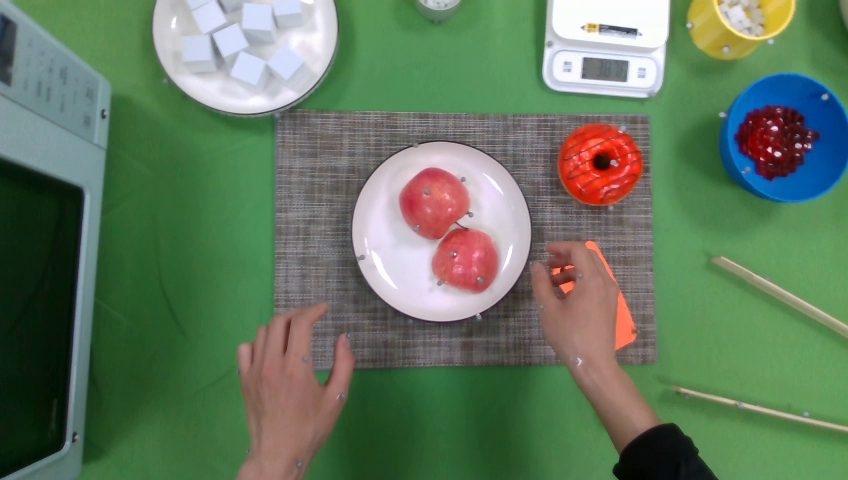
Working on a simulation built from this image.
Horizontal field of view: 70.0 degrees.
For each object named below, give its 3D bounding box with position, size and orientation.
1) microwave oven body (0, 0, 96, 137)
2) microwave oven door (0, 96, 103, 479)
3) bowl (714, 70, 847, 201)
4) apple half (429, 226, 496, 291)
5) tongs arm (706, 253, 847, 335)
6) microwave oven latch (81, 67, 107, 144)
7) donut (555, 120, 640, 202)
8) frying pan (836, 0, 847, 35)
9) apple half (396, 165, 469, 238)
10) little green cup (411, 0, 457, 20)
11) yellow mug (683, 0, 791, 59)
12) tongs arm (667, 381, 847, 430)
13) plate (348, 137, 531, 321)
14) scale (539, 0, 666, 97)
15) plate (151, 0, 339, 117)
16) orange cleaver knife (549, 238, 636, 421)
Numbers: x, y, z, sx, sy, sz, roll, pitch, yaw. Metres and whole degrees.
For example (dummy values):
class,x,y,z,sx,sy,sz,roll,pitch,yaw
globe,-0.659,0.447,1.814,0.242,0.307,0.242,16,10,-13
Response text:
class,x,y,z,sx,sy,sz,roll,pitch,yaw
microwave oven body,-0.514,0.014,0.542,0.326,0.260,0.441,2,86,-5
microwave oven door,-0.370,0.063,0.545,0.039,0.244,0.355,2,85,-4
bowl,0.406,-0.115,0.719,0.151,0.077,0.151,0,86,-4
apple half,0.046,0.019,0.690,0.081,0.033,0.081,0,87,0
tongs arm,0.511,0.117,0.735,0.388,0.028,0.028,30,77,-2
microwave oven latch,-0.367,-0.147,0.662,0.030,0.029,0.079,4,86,-5
donut,0.203,-0.093,0.714,0.099,0.048,0.099,0,86,-2
frying pan,0.694,-0.228,0.737,0.307,0.103,0.485,-27,80,-5
apple half,0.010,-0.047,0.684,0.081,0.053,0.074,-39,86,-7
little green cup,0.012,-0.295,0.721,0.061,0.038,0.061,0,85,-4
yellow mug,0.368,-0.293,0.735,0.100,0.064,0.130,-33,88,-5
tongs arm,0.480,0.199,0.724,0.385,0.026,0.050,15,81,-4
plate,0.017,-0.012,0.697,0.209,0.038,0.208,0,86,-4
scale,0.219,-0.280,0.739,0.149,0.031,0.200,4,86,-4
plate,-0.202,-0.241,0.700,0.208,0.039,0.207,0,86,-4
orange cleaver knife,0.211,0.103,0.714,0.077,0.012,0.211,-18,87,-11
